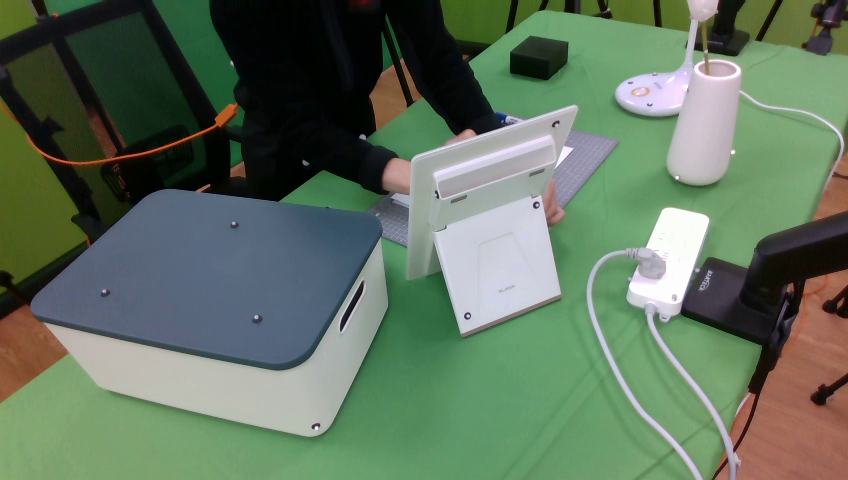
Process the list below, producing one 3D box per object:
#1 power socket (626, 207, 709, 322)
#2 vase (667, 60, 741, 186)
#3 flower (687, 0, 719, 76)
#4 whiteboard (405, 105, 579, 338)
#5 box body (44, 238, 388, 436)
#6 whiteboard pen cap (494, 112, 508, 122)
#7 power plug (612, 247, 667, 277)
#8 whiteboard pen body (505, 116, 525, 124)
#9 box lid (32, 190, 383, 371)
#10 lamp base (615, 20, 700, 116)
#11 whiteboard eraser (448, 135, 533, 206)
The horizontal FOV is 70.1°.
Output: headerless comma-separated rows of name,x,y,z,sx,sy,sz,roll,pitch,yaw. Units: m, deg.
power socket,0.360,0.026,0.886,0.072,0.033,0.227,17,46,27
vase,0.463,-0.189,0.994,0.098,0.201,0.097,-4,40,3
flower,0.436,-0.242,0.934,0.038,0.364,0.043,-24,49,8
whiteboard,0.103,0.003,0.787,0.218,0.306,0.143,-19,62,-14
box body,-0.251,0.088,0.799,0.362,0.161,0.254,7,42,16
whiteboard pen cap,0.161,-0.253,1.248,0.033,0.018,0.018,29,52,36
power plug,0.306,0.032,0.852,0.072,0.053,0.035,21,48,37
whiteboard pen body,0.203,-0.232,1.213,0.139,0.017,0.017,27,51,36
box lid,-0.257,0.032,0.750,0.370,0.015,0.263,7,41,16
lamp base,0.484,-0.364,1.211,0.180,0.181,0.159,-15,41,-14
whiteboard eraser,0.089,-0.088,0.804,0.112,0.056,0.041,-39,64,25
